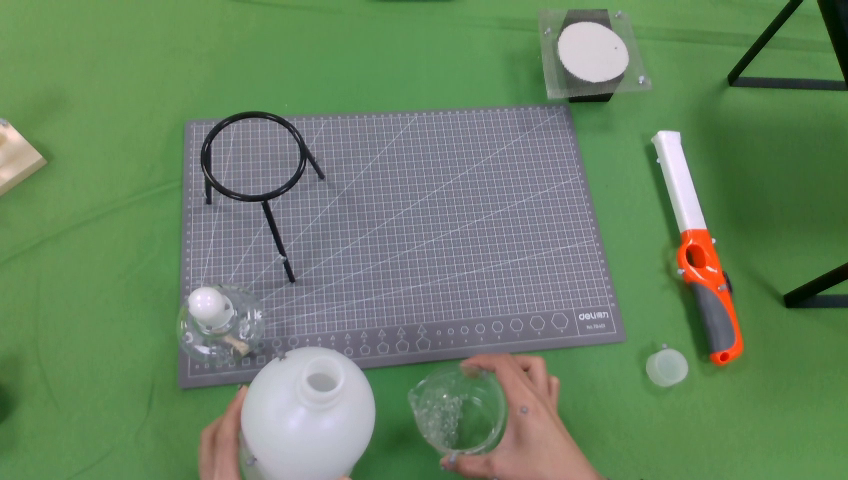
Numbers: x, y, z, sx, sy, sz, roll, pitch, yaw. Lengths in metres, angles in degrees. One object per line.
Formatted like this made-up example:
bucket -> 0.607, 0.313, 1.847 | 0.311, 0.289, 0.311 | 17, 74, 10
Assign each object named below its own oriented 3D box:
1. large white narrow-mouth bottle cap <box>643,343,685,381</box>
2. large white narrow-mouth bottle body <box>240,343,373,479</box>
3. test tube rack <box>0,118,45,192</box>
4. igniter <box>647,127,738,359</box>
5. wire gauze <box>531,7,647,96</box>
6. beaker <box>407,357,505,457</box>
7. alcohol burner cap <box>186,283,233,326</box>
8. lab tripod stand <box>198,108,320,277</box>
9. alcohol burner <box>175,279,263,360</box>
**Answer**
large white narrow-mouth bottle cap -> 0.247, 0.126, 0.625 | 0.038, 0.024, 0.037 | 2, 67, -4
large white narrow-mouth bottle body -> -0.093, 0.139, 0.479 | 0.102, 0.195, 0.101 | 8, 55, -12
test tube rack -> -0.506, -0.043, 0.574 | 0.066, 0.085, 0.242 | 41, 69, 11
igniter -> 0.298, -0.005, 0.678 | 0.057, 0.025, 0.274 | 0, 68, -18
wire gauze -> 0.192, -0.226, 0.715 | 0.122, 0.011, 0.124 | -3, 69, -7
beaker -> 0.030, 0.153, 0.542 | 0.084, 0.101, 0.073 | 13, 67, 12
alcohol burner cap -> -0.183, 0.054, 0.513 | 0.034, 0.048, 0.033 | 2, 73, -5
lab tripod stand -> -0.155, -0.050, 0.587 | 0.149, 0.132, 0.147 | 3, 68, -7
alcohol burner -> -0.187, 0.066, 0.547 | 0.078, 0.120, 0.077 | 3, 66, -7
